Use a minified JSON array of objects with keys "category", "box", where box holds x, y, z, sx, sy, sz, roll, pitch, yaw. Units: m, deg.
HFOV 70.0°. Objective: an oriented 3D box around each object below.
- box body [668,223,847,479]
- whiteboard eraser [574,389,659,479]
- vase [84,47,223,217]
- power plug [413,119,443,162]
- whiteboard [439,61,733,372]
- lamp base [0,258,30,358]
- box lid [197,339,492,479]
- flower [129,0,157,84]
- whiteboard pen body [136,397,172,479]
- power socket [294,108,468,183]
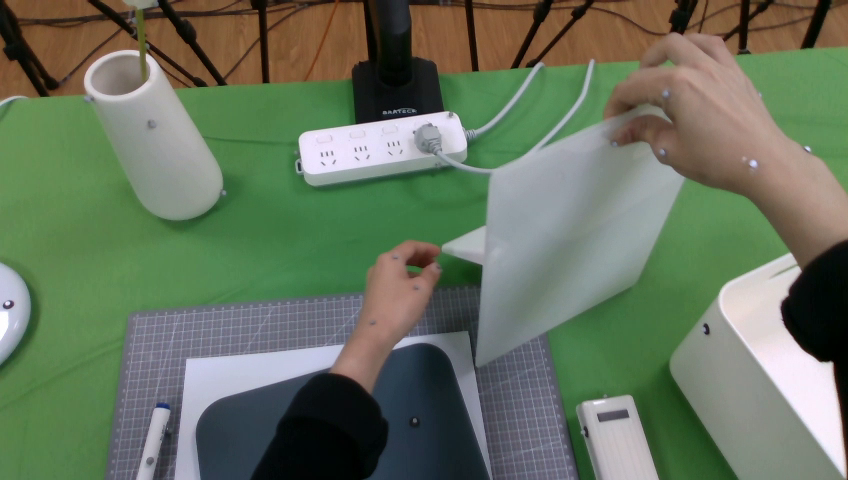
[{"category":"box body","box":[0.428,0.178,0.535,0.254,0.161,0.360,-21,62,-14]},{"category":"whiteboard eraser","box":[0.186,0.203,0.583,0.056,0.042,0.111,-6,60,-8]},{"category":"vase","box":[-0.291,-0.111,0.661,0.098,0.201,0.097,0,59,0]},{"category":"power plug","box":[0.004,-0.116,0.744,0.035,0.053,0.072,0,66,-2]},{"category":"whiteboard","box":[0.114,-0.044,0.581,0.217,0.308,0.142,-24,56,-15]},{"category":"lamp base","box":[-0.513,0.039,0.577,0.178,0.182,0.160,24,61,15]},{"category":"box lid","box":[-0.053,0.280,0.546,0.264,0.015,0.368,-14,62,-10]},{"category":"flower","box":[-0.269,-0.147,0.589,0.038,0.362,0.044,43,57,2]},{"category":"whiteboard pen body","box":[-0.260,0.218,0.567,0.017,0.017,0.139,2,61,0]},{"category":"power socket","box":[-0.052,-0.121,0.772,0.227,0.033,0.071,-9,61,-8]}]
